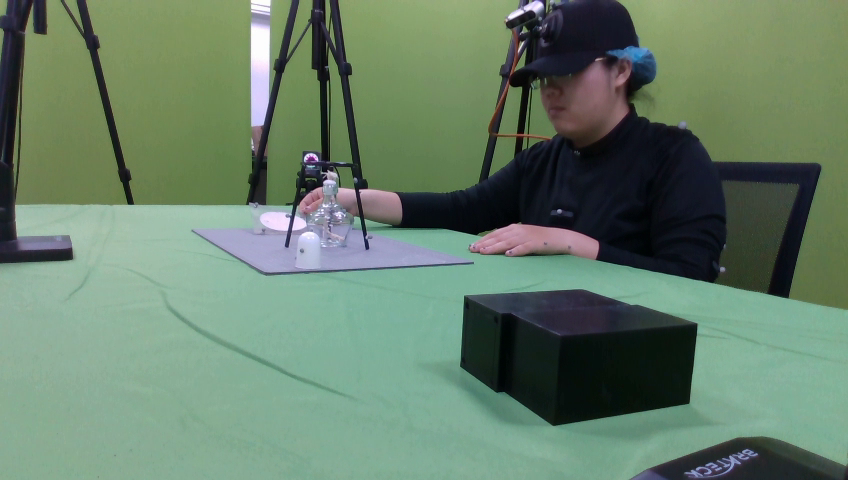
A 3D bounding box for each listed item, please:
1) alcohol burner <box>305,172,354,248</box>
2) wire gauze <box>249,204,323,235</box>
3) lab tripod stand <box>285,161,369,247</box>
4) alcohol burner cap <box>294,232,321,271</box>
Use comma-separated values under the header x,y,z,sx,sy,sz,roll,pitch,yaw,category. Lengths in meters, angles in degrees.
x,y,z,sx,sy,sz,roll,pitch,yaw,category
-0.148,-0.048,0.949,0.078,0.119,0.078,1,6,0,alcohol burner
-0.255,-0.036,1.112,0.122,0.011,0.124,5,23,-23,wire gauze
-0.151,-0.058,0.947,0.148,0.131,0.148,1,6,0,lab tripod stand
-0.144,0.013,0.748,0.034,0.048,0.034,3,6,0,alcohol burner cap
